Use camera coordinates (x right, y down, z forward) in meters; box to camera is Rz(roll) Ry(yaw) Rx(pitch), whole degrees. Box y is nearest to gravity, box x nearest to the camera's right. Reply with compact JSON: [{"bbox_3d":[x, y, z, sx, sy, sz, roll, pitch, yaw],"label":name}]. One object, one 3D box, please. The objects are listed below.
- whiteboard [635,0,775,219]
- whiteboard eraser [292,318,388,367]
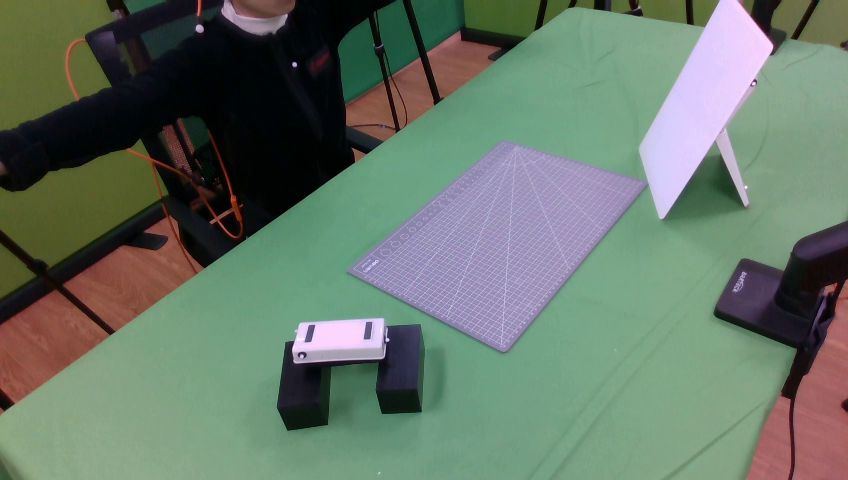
[{"bbox_3d":[0.486,-0.192,0.956,0.144,0.305,0.216,14,41,-4],"label":"whiteboard"},{"bbox_3d":[-0.103,0.128,0.748,0.113,0.042,0.055,-3,38,2],"label":"whiteboard eraser"}]
